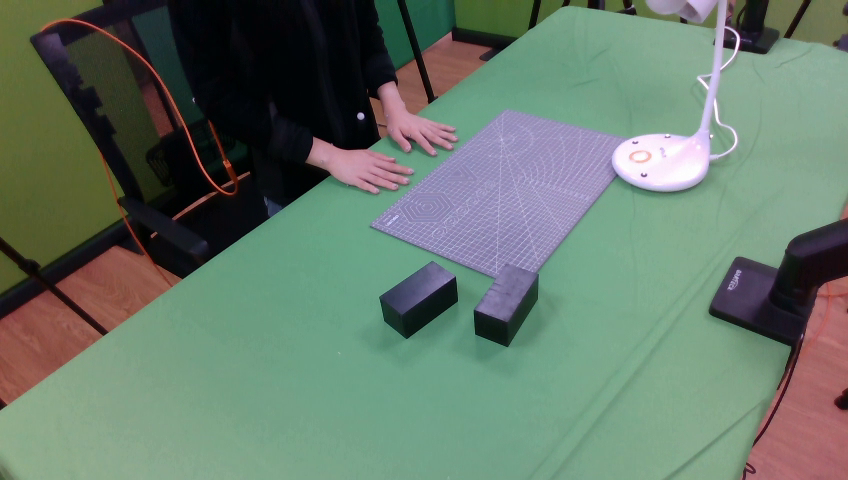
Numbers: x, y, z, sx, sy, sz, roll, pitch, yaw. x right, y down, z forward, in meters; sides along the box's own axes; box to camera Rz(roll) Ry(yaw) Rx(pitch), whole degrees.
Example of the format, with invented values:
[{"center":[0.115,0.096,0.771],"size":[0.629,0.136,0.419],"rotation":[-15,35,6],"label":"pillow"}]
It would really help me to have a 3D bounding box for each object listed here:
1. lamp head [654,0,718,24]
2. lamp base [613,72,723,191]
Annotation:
[{"center":[0.356,-0.361,0.788],"size":[0.123,0.113,0.111],"rotation":[-51,42,13],"label":"lamp head"},{"center":[0.423,-0.198,1.020],"size":[0.179,0.181,0.159],"rotation":[-6,42,-3],"label":"lamp base"}]
